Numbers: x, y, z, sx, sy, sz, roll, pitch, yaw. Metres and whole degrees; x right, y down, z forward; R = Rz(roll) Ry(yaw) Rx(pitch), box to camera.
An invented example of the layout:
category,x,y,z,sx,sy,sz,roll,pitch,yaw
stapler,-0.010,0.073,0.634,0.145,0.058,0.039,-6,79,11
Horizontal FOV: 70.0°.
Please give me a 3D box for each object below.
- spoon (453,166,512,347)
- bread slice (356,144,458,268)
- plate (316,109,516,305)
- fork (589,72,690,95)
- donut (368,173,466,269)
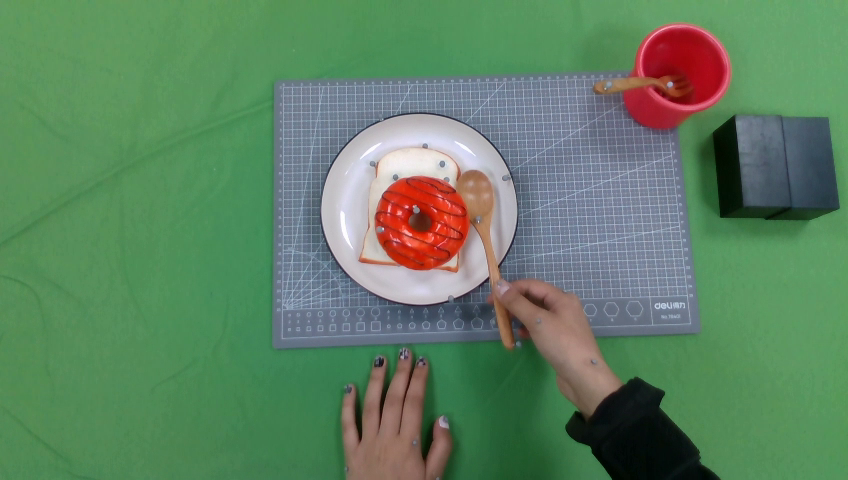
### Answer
category,x,y,z,sx,sy,sz,roll,pitch,yaw
spoon,0.062,0.013,0.609,0.042,0.022,0.192,-5,65,-11
bread slice,-0.015,-0.039,0.645,0.105,0.019,0.131,4,81,-2
plate,-0.008,-0.034,0.642,0.209,0.038,0.208,0,80,-1
fork,0.222,-0.159,0.613,0.208,0.018,0.028,-15,76,-46
donut,-0.007,-0.020,0.612,0.099,0.048,0.099,0,83,-4
